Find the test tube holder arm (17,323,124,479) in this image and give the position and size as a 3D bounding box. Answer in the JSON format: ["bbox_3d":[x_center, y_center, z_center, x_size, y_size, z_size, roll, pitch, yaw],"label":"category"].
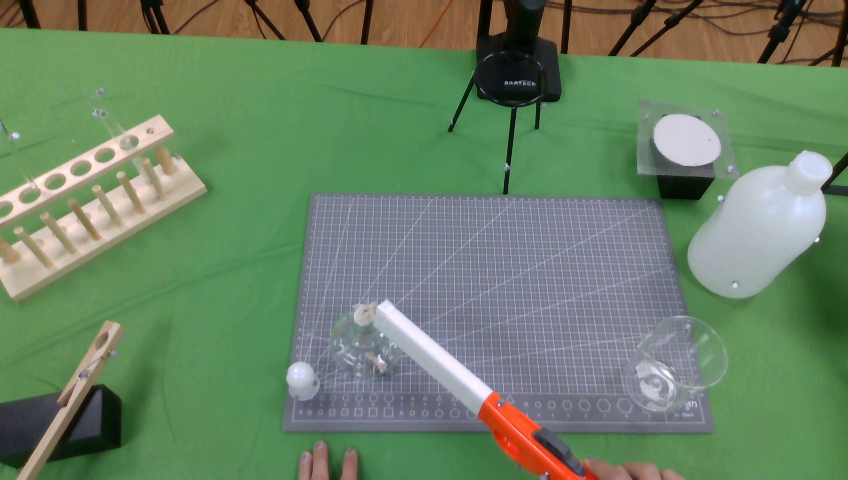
[{"bbox_3d":[-0.335,0.159,0.568,0.013,0.015,0.177,11,59,12],"label":"test tube holder arm"}]

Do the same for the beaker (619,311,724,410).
[{"bbox_3d":[0.244,0.127,0.618,0.084,0.101,0.073,6,58,2],"label":"beaker"}]

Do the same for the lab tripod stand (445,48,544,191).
[{"bbox_3d":[0.097,-0.158,0.765,0.148,0.132,0.147,2,60,-3],"label":"lab tripod stand"}]

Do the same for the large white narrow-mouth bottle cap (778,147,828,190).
[{"bbox_3d":[0.366,-0.070,0.588,0.038,0.024,0.037,1,59,-2],"label":"large white narrow-mouth bottle cap"}]

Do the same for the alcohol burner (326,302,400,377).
[{"bbox_3d":[-0.061,0.095,0.615,0.078,0.120,0.077,2,58,-3],"label":"alcohol burner"}]

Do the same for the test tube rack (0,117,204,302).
[{"bbox_3d":[-0.389,-0.038,0.698,0.242,0.086,0.066,-36,67,-21],"label":"test tube rack"}]

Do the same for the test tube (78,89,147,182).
[{"bbox_3d":[-0.347,-0.113,0.688,0.017,0.151,0.017,-1,61,2],"label":"test tube"}]

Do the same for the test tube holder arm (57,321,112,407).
[{"bbox_3d":[-0.328,0.121,0.591,0.010,0.015,0.087,10,59,11],"label":"test tube holder arm"}]

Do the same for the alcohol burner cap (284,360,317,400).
[{"bbox_3d":[-0.129,0.143,0.625,0.034,0.048,0.033,1,59,-2],"label":"alcohol burner cap"}]

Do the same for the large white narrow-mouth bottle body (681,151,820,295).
[{"bbox_3d":[0.364,-0.024,0.661,0.102,0.196,0.101,1,58,-1],"label":"large white narrow-mouth bottle body"}]

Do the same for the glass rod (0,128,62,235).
[{"bbox_3d":[-0.421,-0.066,0.637,0.008,0.201,0.008,3,50,-4],"label":"glass rod"}]

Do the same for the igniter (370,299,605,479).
[{"bbox_3d":[0.058,0.144,0.509,0.274,0.057,0.025,37,49,21],"label":"igniter"}]

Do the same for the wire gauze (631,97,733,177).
[{"bbox_3d":[0.326,-0.131,0.775,0.121,0.011,0.124,7,59,2],"label":"wire gauze"}]
